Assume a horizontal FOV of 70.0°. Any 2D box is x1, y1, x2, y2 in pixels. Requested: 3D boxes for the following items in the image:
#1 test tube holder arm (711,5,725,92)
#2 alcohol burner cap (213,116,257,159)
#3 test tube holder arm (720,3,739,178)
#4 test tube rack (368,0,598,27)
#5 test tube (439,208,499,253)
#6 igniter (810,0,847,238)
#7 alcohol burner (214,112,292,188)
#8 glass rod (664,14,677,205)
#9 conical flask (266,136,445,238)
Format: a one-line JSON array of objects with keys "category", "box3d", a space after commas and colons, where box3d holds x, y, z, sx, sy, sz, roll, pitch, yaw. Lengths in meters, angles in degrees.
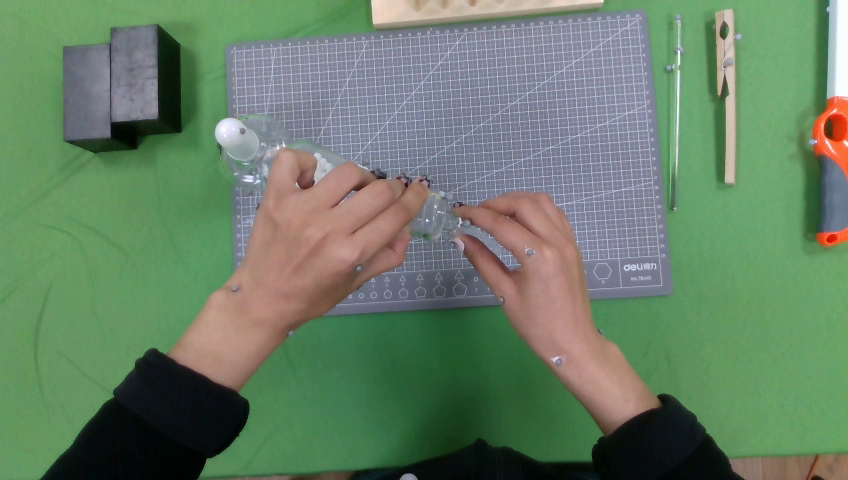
[{"category": "test tube holder arm", "box3d": [0.304, -0.197, 0.624, 0.010, 0.015, 0.087, -4, 85, 39]}, {"category": "alcohol burner cap", "box3d": [-0.175, -0.097, 0.556, 0.034, 0.048, 0.033, 0, 81, 0]}, {"category": "test tube holder arm", "box3d": [0.310, -0.152, 0.617, 0.013, 0.015, 0.178, -6, 84, 39]}, {"category": "test tube rack", "box3d": [0.058, -0.277, 0.610, 0.242, 0.085, 0.066, -5, 85, 3]}, {"category": "test tube", "box3d": [0.042, -0.006, 0.521, 0.017, 0.151, 0.017, -3, 80, 19]}, {"category": "igniter", "box3d": [0.416, -0.138, 0.607, 0.057, 0.025, 0.276, 5, 86, -6]}, {"category": "alcohol burner", "box3d": [-0.173, -0.092, 0.592, 0.078, 0.119, 0.077, -1, 85, 6]}, {"category": "glass rod", "box3d": [0.255, -0.135, 0.626, 0.008, 0.008, 0.199, 2, 88, 3]}, {"category": "conical flask", "box3d": [-0.047, -0.031, 0.448, 0.121, 0.075, 0.075, 12, 86, 11]}]
